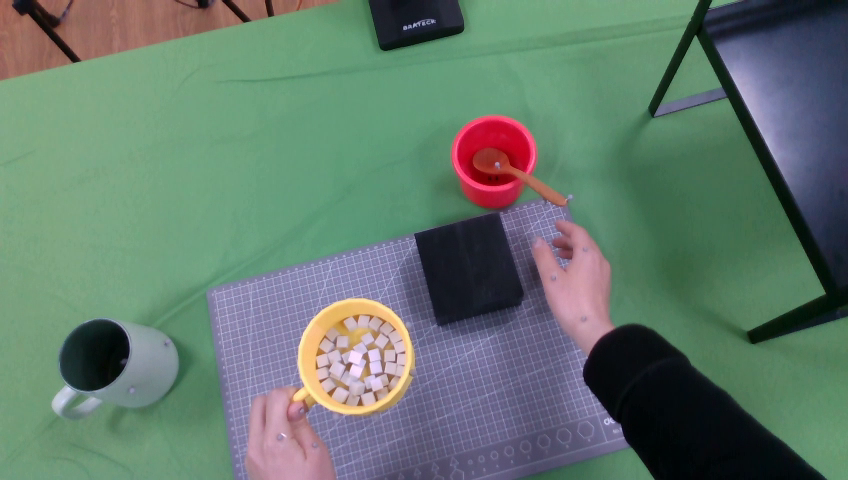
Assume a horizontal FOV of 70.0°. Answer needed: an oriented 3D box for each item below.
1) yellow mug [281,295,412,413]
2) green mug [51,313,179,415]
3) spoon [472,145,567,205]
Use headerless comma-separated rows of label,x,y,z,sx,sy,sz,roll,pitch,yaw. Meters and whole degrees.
yellow mug,-0.074,0.114,0.550,0.131,0.064,0.099,-37,77,-9
green mug,-0.343,0.140,0.661,0.092,0.105,0.125,41,79,15
spoon,0.104,-0.075,0.680,0.041,0.192,0.022,-26,117,-9
